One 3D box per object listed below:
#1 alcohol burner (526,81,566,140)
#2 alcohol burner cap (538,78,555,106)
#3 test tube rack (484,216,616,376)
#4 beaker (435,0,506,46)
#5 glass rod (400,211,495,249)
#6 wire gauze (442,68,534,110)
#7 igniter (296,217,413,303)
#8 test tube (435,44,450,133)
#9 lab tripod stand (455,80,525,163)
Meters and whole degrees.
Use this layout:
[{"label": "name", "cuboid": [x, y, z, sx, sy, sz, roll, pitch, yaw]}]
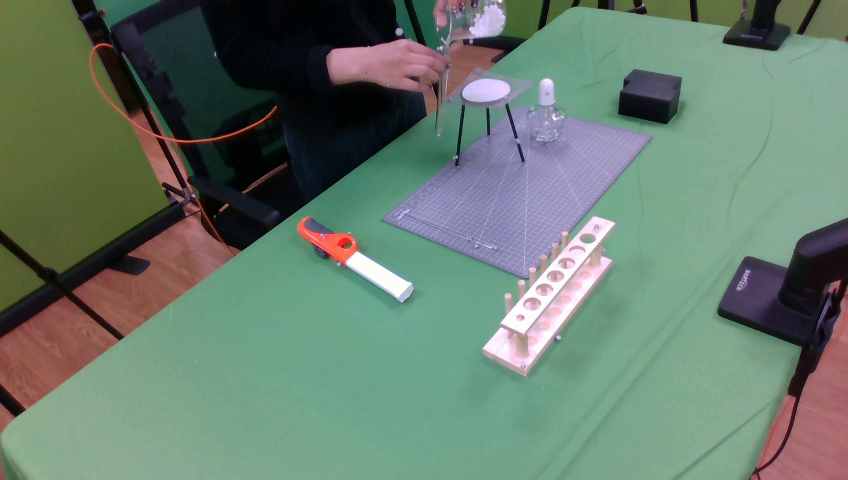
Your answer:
[{"label": "alcohol burner", "cuboid": [0.234, -0.252, 1.159, 0.078, 0.119, 0.077, -4, 42, 4]}, {"label": "alcohol burner cap", "cuboid": [0.229, -0.280, 1.136, 0.034, 0.048, 0.033, -6, 34, 5]}, {"label": "test tube rack", "cuboid": [0.174, 0.064, 0.823, 0.066, 0.085, 0.243, 23, 49, 33]}, {"label": "beaker", "cuboid": [0.076, -0.363, 0.983, 0.101, 0.084, 0.073, -10, 27, -16]}, {"label": "glass rod", "cuboid": [0.035, -0.018, 1.001, 0.198, 0.008, 0.008, 21, 49, 35]}, {"label": "wire gauze", "cuboid": [0.114, -0.269, 1.081, 0.120, 0.011, 0.125, 21, 49, 29]}, {"label": "igniter", "cuboid": [-0.121, 0.025, 0.970, 0.274, 0.025, 0.057, 29, 63, 37]}, {"label": "test tube", "cuboid": [0.031, -0.254, 1.025, 0.017, 0.150, 0.017, 3, 31, -1]}, {"label": "lab tripod stand", "cuboid": [0.120, -0.220, 1.126, 0.148, 0.132, 0.147, -4, 39, 4]}]
